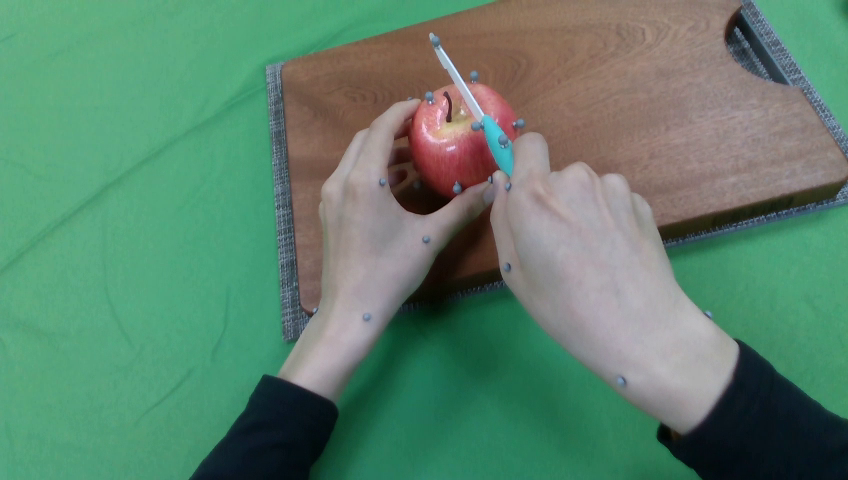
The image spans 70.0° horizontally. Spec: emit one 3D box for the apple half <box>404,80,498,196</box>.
[{"bbox_3d":[0.015,-0.067,0.438,0.053,0.075,0.080,-26,62,2],"label":"apple half"}]

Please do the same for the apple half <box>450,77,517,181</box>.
[{"bbox_3d":[0.050,-0.084,0.439,0.033,0.082,0.080,-27,59,1],"label":"apple half"}]

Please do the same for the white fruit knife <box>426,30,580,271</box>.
[{"bbox_3d":[0.041,-0.068,0.382,0.016,0.028,0.205,-26,60,-1],"label":"white fruit knife"}]
